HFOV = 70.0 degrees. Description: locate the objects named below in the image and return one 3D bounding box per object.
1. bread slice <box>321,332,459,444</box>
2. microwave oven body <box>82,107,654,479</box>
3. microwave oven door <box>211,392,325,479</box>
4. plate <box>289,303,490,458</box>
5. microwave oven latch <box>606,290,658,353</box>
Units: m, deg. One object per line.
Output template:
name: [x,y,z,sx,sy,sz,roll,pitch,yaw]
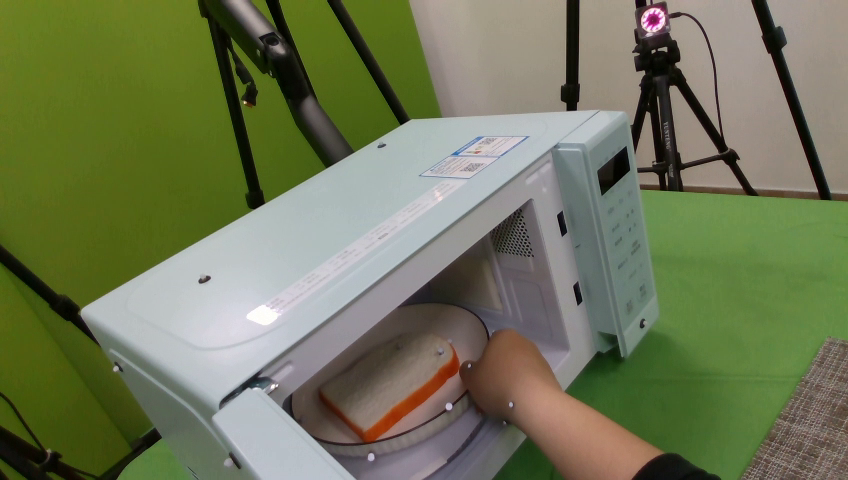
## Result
bread slice: [-0.032,0.141,0.611,0.131,0.019,0.104,-35,30,-24]
microwave oven body: [-0.028,0.075,0.609,0.323,0.262,0.441,10,38,45]
microwave oven door: [0.031,0.220,0.254,0.039,0.246,0.352,-33,28,-27]
plate: [-0.031,0.138,0.606,0.209,0.038,0.207,-16,25,8]
microwave oven latch: [0.221,0.084,0.645,0.030,0.030,0.079,11,39,46]
